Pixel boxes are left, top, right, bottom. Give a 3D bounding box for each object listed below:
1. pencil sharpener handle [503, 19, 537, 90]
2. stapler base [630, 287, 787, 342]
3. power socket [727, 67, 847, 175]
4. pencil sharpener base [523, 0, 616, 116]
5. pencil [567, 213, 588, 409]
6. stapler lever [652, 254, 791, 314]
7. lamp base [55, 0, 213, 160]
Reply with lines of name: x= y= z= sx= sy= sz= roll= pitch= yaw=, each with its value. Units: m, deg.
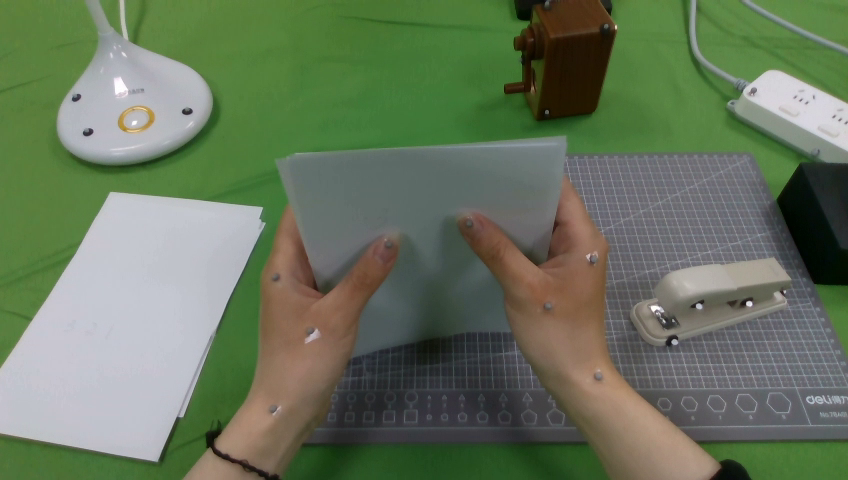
pencil sharpener handle: x=0.094 y=-0.186 z=0.611 sx=0.031 sy=0.068 sz=0.035 roll=-10 pitch=30 yaw=-6
stapler base: x=0.234 y=0.048 z=0.495 sx=0.131 sy=0.024 sz=0.041 roll=-13 pitch=54 yaw=-11
power socket: x=0.424 y=-0.107 z=0.611 sx=0.072 sy=0.033 sz=0.224 roll=-35 pitch=59 yaw=-24
pencil sharpener base: x=0.144 y=-0.190 z=0.631 sx=0.077 sy=0.108 sz=0.060 roll=-10 pitch=53 yaw=-6
pencil: x=0.126 y=0.049 z=0.504 sx=0.012 sy=0.012 sz=0.192 roll=4 pitch=51 yaw=5
stapler lever: x=0.236 y=0.031 z=0.476 sx=0.118 sy=0.040 sz=0.026 roll=-13 pitch=54 yaw=-11
lamp base: x=-0.316 y=-0.199 z=0.595 sx=0.161 sy=0.182 sz=0.177 roll=-26 pitch=54 yaw=-18
